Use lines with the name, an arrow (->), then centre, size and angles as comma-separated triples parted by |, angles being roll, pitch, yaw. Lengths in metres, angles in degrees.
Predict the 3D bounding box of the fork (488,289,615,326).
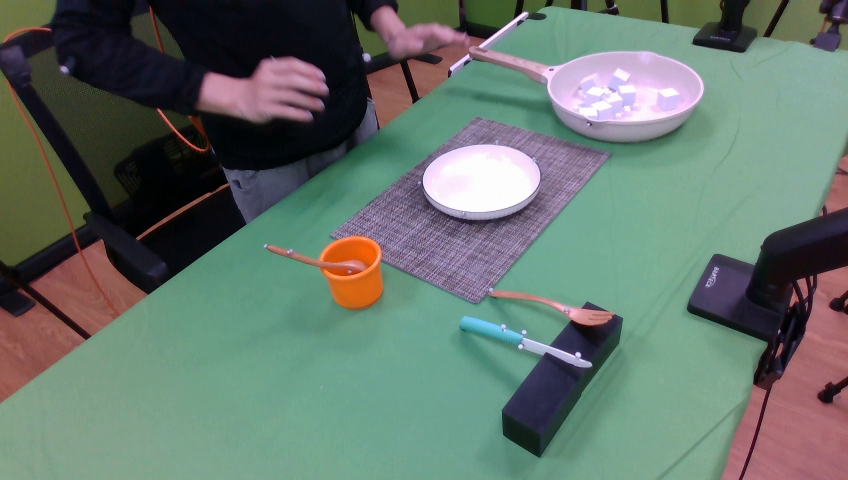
fork -> 0.160, 0.086, 0.800 | 0.205, 0.019, 0.028 | 12, 48, 48

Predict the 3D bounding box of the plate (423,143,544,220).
plate -> 0.102, -0.097, 1.048 | 0.207, 0.039, 0.206 | -4, 40, 4

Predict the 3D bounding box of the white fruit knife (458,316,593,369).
white fruit knife -> 0.120, 0.127, 0.757 | 0.205, 0.027, 0.016 | 12, 44, 43

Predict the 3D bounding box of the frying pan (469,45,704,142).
frying pan -> 0.307, -0.326, 1.239 | 0.485, 0.103, 0.307 | 26, 49, 22

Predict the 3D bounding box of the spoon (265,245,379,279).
spoon -> -0.137, 0.031, 0.846 | 0.195, 0.021, 0.041 | 13, 15, -45
